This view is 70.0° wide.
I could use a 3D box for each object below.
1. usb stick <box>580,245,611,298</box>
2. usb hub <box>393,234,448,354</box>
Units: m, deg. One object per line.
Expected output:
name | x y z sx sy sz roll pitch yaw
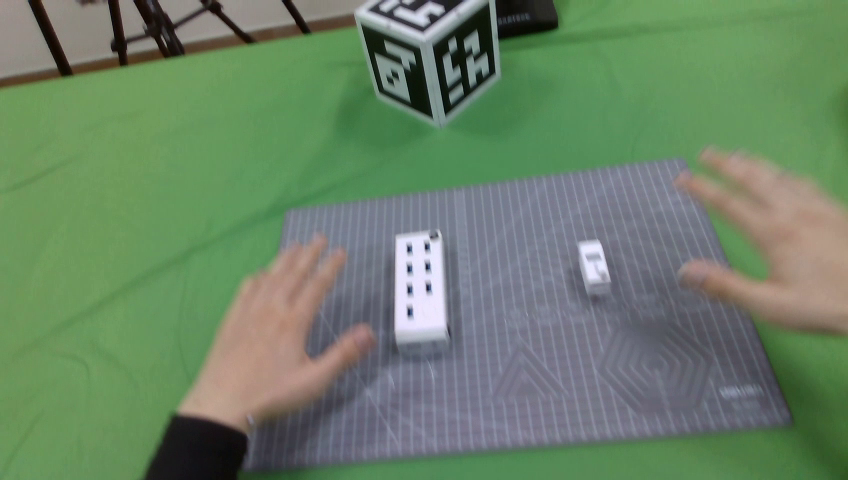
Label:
usb stick | 0.160 0.024 0.573 0.021 0.027 0.058 -7 48 8
usb hub | -0.003 0.049 0.586 0.049 0.025 0.124 -6 50 5
